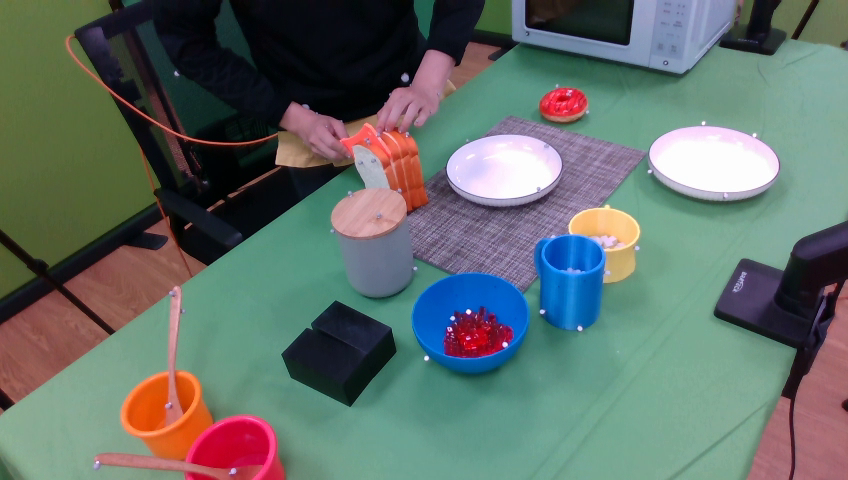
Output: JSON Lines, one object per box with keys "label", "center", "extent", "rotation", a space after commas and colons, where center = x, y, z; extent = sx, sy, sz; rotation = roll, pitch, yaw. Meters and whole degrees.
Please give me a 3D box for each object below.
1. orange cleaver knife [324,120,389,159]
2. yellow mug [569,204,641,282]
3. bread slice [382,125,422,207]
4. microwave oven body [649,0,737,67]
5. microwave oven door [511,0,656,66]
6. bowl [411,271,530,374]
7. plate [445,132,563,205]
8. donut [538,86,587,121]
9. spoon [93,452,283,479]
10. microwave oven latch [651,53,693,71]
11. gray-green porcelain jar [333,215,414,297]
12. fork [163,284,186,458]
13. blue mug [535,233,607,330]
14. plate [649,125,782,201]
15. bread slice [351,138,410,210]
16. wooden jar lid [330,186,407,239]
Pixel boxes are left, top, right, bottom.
{"label": "orange cleaver knife", "center": [-0.119, -0.161, 1.055], "extent": [0.012, 0.077, 0.210], "rotation": [-35, 19, -25]}
{"label": "yellow mug", "center": [0.268, -0.005, 0.904], "extent": [0.099, 0.064, 0.130], "rotation": [7, 41, 15]}
{"label": "bread slice", "center": [-0.040, -0.131, 1.047], "extent": [0.018, 0.135, 0.106], "rotation": [-24, 44, -28]}
{"label": "microwave oven body", "center": [0.475, -0.602, 1.411], "extent": [0.438, 0.261, 0.327], "rotation": [23, 50, 32]}
{"label": "microwave oven door", "center": [0.351, -0.539, 1.349], "extent": [0.353, 0.245, 0.039], "rotation": [24, 50, 31]}
{"label": "bowl", "center": [0.061, 0.120, 0.780], "extent": [0.151, 0.077, 0.150], "rotation": [-4, 40, 4]}
{"label": "plate", "center": [0.142, -0.124, 1.076], "extent": [0.209, 0.038, 0.208], "rotation": [-4, 41, 4]}
{"label": "donut", "center": [0.283, -0.280, 1.239], "extent": [0.099, 0.048, 0.098], "rotation": [-5, 42, 5]}
{"label": "spoon", "center": [-0.240, 0.239, 0.632], "extent": [0.195, 0.021, 0.041], "rotation": [26, 33, -32]}
{"label": "microwave oven latch", "center": [0.532, -0.386, 1.301], "extent": [0.078, 0.029, 0.030], "rotation": [27, 52, 34]}
{"label": "gray-green porcelain jar", "center": [-0.071, 0.012, 0.887], "extent": [0.106, 0.127, 0.105], "rotation": [-4, 41, 4]}
{"label": "fork", "center": [-0.302, 0.157, 0.733], "extent": [0.028, 0.019, 0.207], "rotation": [-3, 84, 15]}
{"label": "blue mug", "center": [0.191, 0.048, 0.824], "extent": [0.082, 0.106, 0.115], "rotation": [-26, 44, -20]}
{"label": "plate", "center": [0.493, -0.127, 1.036], "extent": [0.207, 0.039, 0.206], "rotation": [-4, 40, 4]}
{"label": "bread slice", "center": [-0.080, -0.114, 1.029], "extent": [0.019, 0.132, 0.104], "rotation": [-41, 44, -22]}
{"label": "wooden jar lid", "center": [-0.077, -0.035, 0.847], "extent": [0.108, 0.021, 0.108], "rotation": [-6, 42, 5]}
